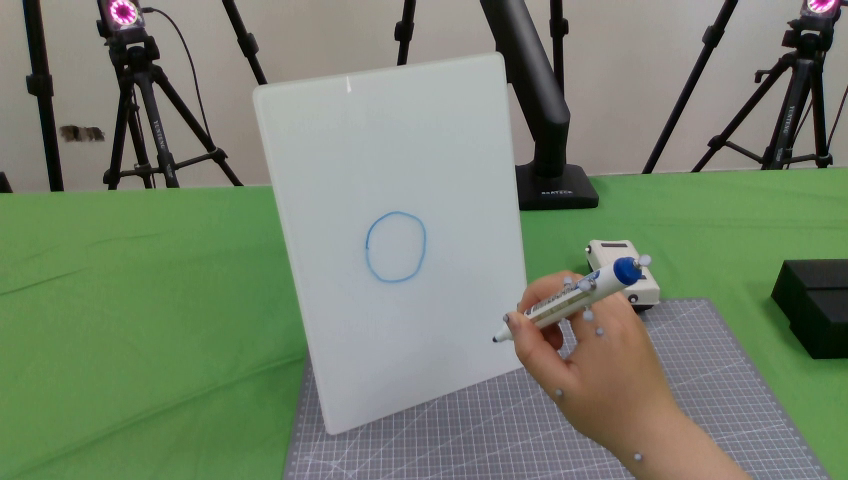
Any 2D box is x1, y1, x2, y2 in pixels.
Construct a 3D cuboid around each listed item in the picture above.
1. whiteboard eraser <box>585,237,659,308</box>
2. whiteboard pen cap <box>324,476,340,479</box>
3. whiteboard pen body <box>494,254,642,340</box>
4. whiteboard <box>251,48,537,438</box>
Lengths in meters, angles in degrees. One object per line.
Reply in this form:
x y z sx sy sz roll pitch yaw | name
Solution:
0.226 0.037 0.701 0.055 0.042 0.111 -3 30 1 | whiteboard eraser
-0.075 0.202 0.470 0.018 0.018 0.033 8 52 13 | whiteboard pen cap
0.078 0.040 0.365 0.017 0.141 0.017 11 62 -21 | whiteboard pen body
-0.032 -0.009 0.587 0.218 0.307 0.142 -15 17 -19 | whiteboard
